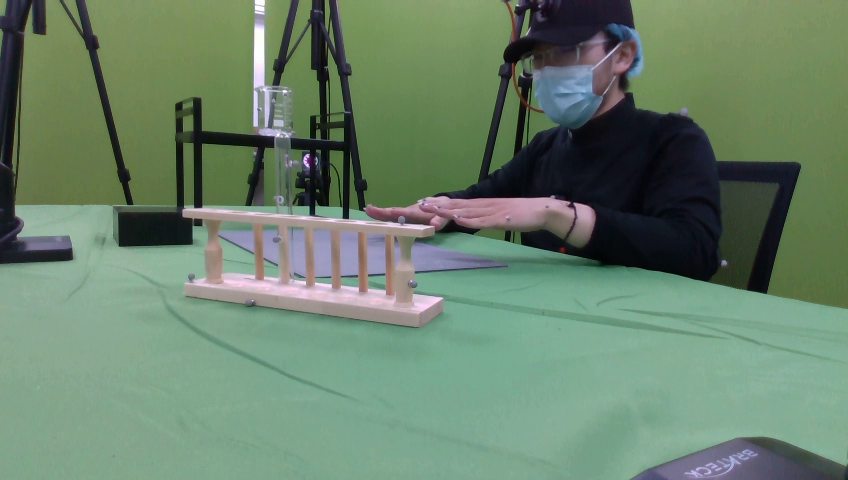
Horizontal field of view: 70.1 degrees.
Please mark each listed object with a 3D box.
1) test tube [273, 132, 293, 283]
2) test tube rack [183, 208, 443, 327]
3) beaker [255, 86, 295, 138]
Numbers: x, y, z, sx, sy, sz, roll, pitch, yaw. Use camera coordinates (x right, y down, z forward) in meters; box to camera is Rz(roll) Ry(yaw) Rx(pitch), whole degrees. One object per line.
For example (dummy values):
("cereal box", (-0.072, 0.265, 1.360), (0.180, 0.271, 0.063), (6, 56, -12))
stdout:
("test tube", (-0.139, -0.030, 0.596), (0.017, 0.150, 0.017), (1, 9, 0))
("test tube rack", (-0.106, 0.019, 0.570), (0.241, 0.085, 0.067), (5, 8, 19))
("beaker", (-0.309, -0.263, 1.251), (0.084, 0.100, 0.073), (-4, 9, -38))
